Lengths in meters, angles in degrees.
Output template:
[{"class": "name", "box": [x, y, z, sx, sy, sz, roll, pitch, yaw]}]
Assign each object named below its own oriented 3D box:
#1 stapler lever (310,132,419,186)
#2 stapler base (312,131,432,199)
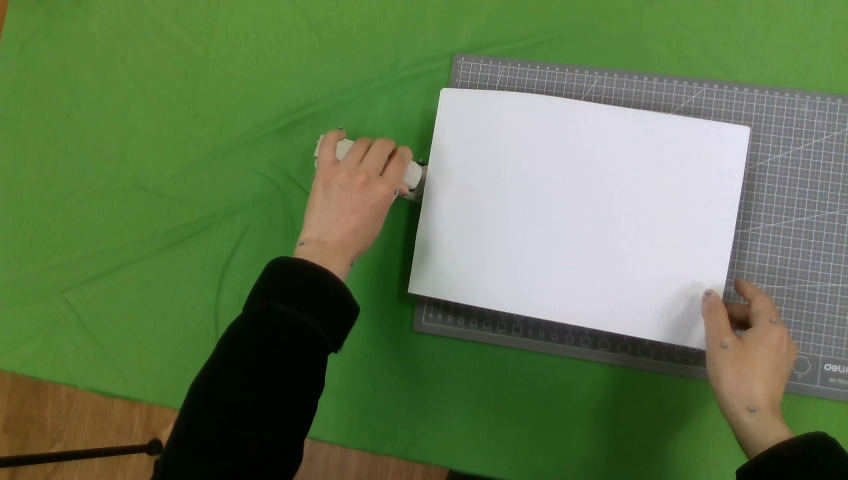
[{"class": "stapler lever", "box": [-0.062, -0.084, 0.615, 0.118, 0.040, 0.027, 19, 86, 8]}, {"class": "stapler base", "box": [-0.057, -0.081, 0.640, 0.130, 0.024, 0.041, 19, 86, 8]}]
